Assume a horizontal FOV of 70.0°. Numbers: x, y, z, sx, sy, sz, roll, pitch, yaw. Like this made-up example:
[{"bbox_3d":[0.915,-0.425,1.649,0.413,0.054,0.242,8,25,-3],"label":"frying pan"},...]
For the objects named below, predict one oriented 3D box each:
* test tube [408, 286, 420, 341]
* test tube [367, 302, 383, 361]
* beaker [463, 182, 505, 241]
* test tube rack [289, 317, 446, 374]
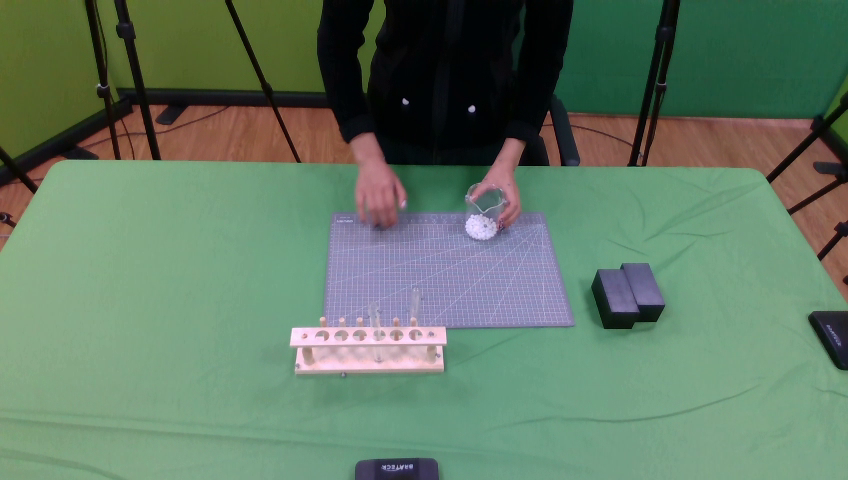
[{"bbox_3d":[-0.017,0.123,0.974,0.017,0.151,0.017,2,48,-2],"label":"test tube"},{"bbox_3d":[-0.075,0.145,0.941,0.017,0.151,0.017,0,49,0],"label":"test tube"},{"bbox_3d":[0.116,-0.052,1.202,0.074,0.101,0.083,9,47,5],"label":"beaker"},{"bbox_3d":[-0.089,0.167,0.988,0.242,0.085,0.066,0,46,-4],"label":"test tube rack"}]
